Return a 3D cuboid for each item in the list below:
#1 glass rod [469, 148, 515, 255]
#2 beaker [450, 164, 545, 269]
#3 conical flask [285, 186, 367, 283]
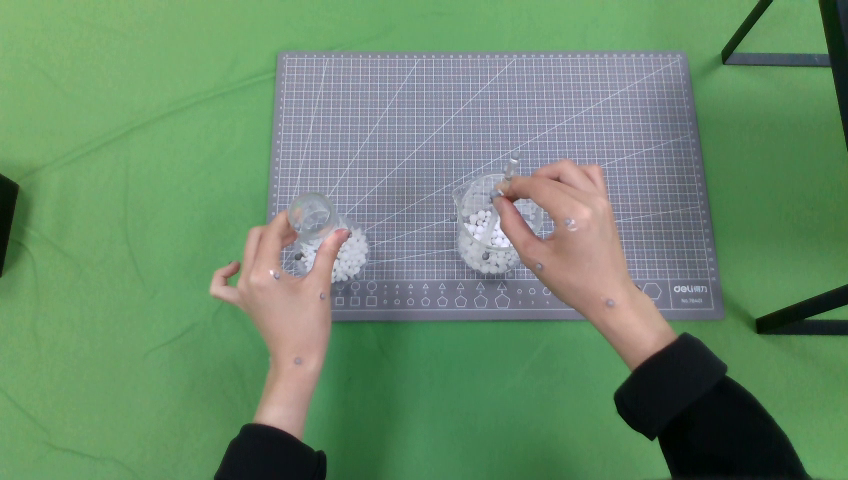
[{"bbox_3d":[0.052,-0.024,0.498,0.008,0.201,0.008,1,69,-3],"label":"glass rod"},{"bbox_3d":[0.062,-0.018,0.561,0.084,0.101,0.073,23,74,8],"label":"beaker"},{"bbox_3d":[-0.093,-0.010,0.546,0.075,0.122,0.075,0,73,0],"label":"conical flask"}]
